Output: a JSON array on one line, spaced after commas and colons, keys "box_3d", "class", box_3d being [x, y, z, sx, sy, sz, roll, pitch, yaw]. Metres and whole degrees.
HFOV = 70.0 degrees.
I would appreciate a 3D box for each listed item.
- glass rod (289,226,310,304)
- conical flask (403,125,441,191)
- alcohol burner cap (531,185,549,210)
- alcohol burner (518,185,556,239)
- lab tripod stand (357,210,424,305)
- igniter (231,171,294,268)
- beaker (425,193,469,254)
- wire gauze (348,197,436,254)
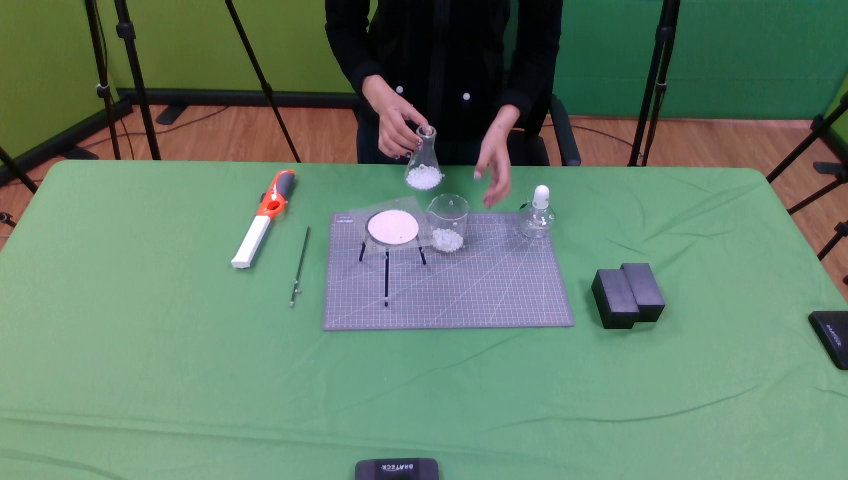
[{"box_3d": [-0.235, 0.043, 1.150, 0.008, 0.008, 0.198, 3, 46, -1], "class": "glass rod"}, {"box_3d": [-0.002, -0.159, 1.152, 0.075, 0.122, 0.075, 3, 47, -2], "class": "conical flask"}, {"box_3d": [0.228, -0.085, 1.183, 0.034, 0.048, 0.033, -1, 48, 2], "class": "alcohol burner cap"}, {"box_3d": [0.227, -0.061, 1.209, 0.078, 0.120, 0.077, 1, 44, -1], "class": "alcohol burner"}, {"box_3d": [-0.060, 0.020, 1.094, 0.148, 0.132, 0.147, 3, 44, -2], "class": "lab tripod stand"}, {"box_3d": [-0.321, -0.051, 1.220, 0.057, 0.025, 0.275, 2, 45, 11], "class": "igniter"}, {"box_3d": [0.042, -0.029, 1.174, 0.084, 0.101, 0.073, -5, 46, -8], "class": "beaker"}, {"box_3d": [-0.056, -0.026, 1.045, 0.125, 0.011, 0.120, -12, 46, -17], "class": "wire gauze"}]
